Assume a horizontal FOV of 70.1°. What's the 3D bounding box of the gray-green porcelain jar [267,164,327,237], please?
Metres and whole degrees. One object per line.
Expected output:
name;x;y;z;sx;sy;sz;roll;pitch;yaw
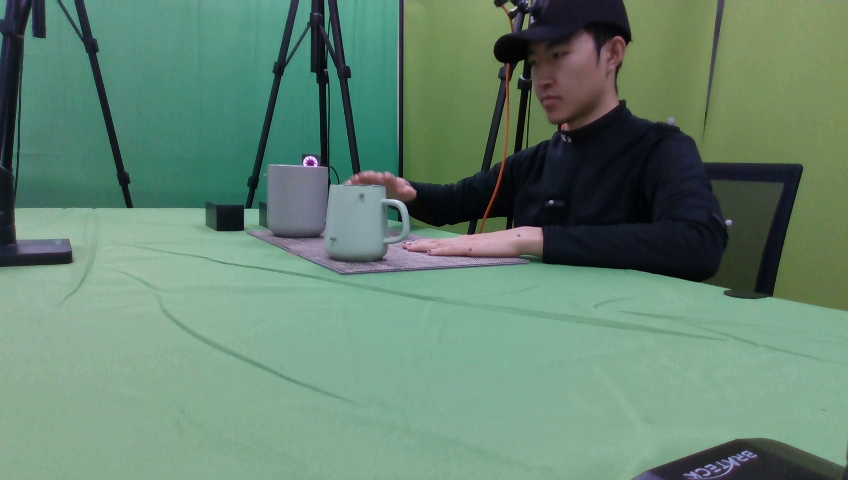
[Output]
gray-green porcelain jar;-0.227;-0.072;1.086;0.106;0.126;0.106;2;8;0

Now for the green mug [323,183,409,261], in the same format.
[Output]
green mug;-0.080;-0.026;0.851;0.125;0.105;0.093;5;7;20
